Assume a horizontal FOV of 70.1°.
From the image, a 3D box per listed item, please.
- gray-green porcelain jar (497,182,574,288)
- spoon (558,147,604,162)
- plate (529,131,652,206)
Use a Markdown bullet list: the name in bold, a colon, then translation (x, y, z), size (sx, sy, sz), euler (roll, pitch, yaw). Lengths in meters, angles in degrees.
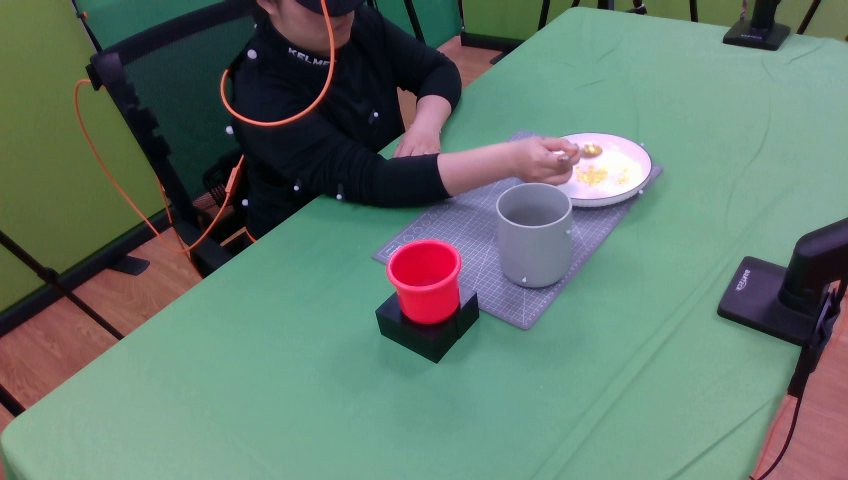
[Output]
- **gray-green porcelain jar**: translation (0.160, -0.003, 0.870), size (0.106, 0.127, 0.105), euler (-5, 40, 5)
- **spoon**: translation (0.240, -0.134, 0.940), size (0.041, 0.021, 0.195), euler (7, 11, 29)
- **plate**: translation (0.287, -0.121, 1.056), size (0.207, 0.039, 0.206), euler (-5, 40, 5)
